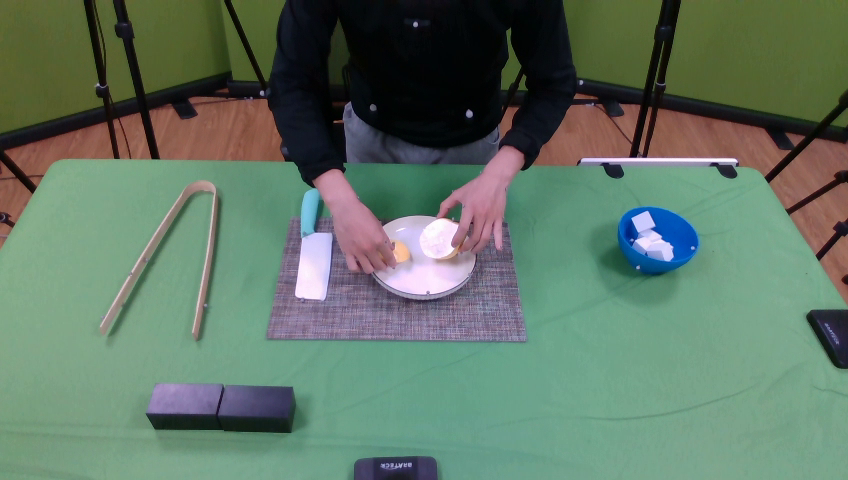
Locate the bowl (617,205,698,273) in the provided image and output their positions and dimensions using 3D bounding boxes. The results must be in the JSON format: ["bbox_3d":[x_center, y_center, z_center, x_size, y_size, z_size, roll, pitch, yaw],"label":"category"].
[{"bbox_3d":[0.442,0.010,1.181,0.151,0.077,0.150,2,46,-2],"label":"bowl"}]

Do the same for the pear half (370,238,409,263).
[{"bbox_3d":[-0.066,0.016,1.138,0.070,0.031,0.088,22,24,32],"label":"pear half"}]

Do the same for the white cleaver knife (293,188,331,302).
[{"bbox_3d":[-0.214,0.005,1.177,0.066,0.021,0.284,2,50,-9],"label":"white cleaver knife"}]

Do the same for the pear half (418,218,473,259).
[{"bbox_3d":[0.049,-0.009,1.125,0.110,0.056,0.076,-25,81,23],"label":"pear half"}]

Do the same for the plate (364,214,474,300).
[{"bbox_3d":[-0.010,0.036,1.147,0.208,0.039,0.206,2,46,-2],"label":"plate"}]

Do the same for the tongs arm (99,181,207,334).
[{"bbox_3d":[-0.494,0.018,1.132,0.051,0.026,0.382,7,45,0],"label":"tongs arm"}]

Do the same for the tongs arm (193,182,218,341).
[{"bbox_3d":[-0.413,0.025,1.140,0.028,0.028,0.385,-5,47,-7],"label":"tongs arm"}]
